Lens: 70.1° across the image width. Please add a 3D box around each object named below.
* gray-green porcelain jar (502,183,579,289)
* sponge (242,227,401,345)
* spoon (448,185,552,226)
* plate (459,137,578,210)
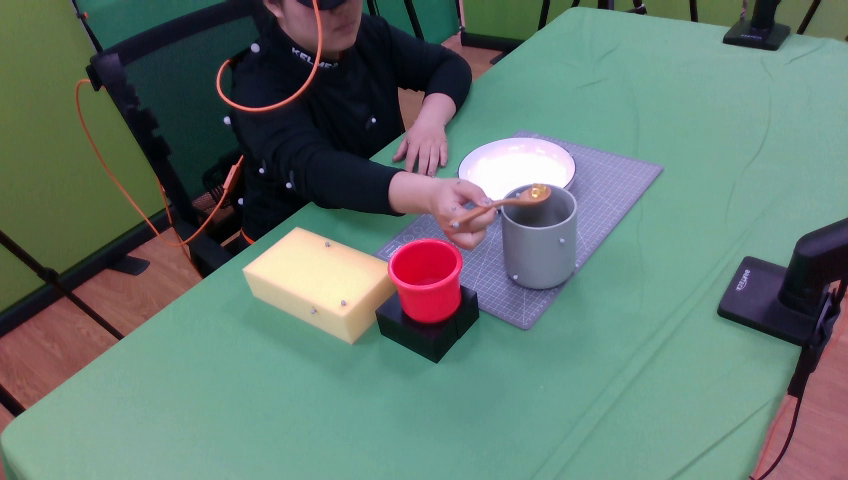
[{"bbox_3d":[0.167,-0.001,0.866,0.106,0.127,0.105,-5,40,5],"label":"gray-green porcelain jar"},{"bbox_3d":[-0.154,0.063,0.907,0.205,0.061,0.118,19,47,29],"label":"sponge"},{"bbox_3d":[0.100,-0.047,0.787,0.195,0.021,0.041,-16,28,-40],"label":"spoon"},{"bbox_3d":[0.166,-0.113,1.069,0.207,0.039,0.206,-5,40,5],"label":"plate"}]
